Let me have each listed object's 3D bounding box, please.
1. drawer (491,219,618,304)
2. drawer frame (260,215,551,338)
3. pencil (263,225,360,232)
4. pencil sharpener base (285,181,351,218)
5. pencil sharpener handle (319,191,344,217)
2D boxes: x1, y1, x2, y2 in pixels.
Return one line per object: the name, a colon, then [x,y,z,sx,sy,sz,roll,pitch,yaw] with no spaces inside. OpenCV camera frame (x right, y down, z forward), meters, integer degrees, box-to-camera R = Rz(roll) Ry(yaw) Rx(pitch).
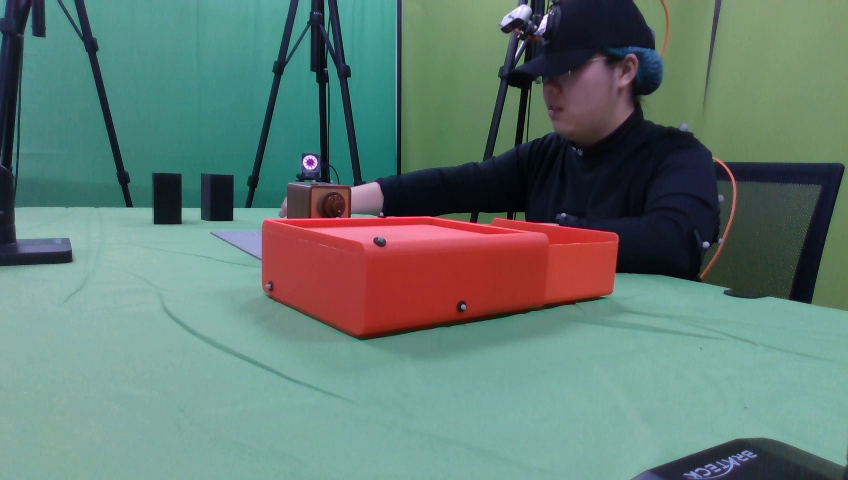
drawer: [0.071,0.021,0.670,0.213,0.073,0.193,-3,10,-39]
drawer frame: [-0.021,0.023,0.595,0.215,0.082,0.200,-4,10,-38]
pencil: [-0.211,-0.021,1.156,0.195,0.012,0.012,-3,9,-32]
pencil sharpener base: [-0.139,-0.021,0.789,0.062,0.107,0.076,-2,9,-36]
pencil sharpener handle: [-0.107,-0.026,0.748,0.036,0.067,0.030,-6,11,-36]
